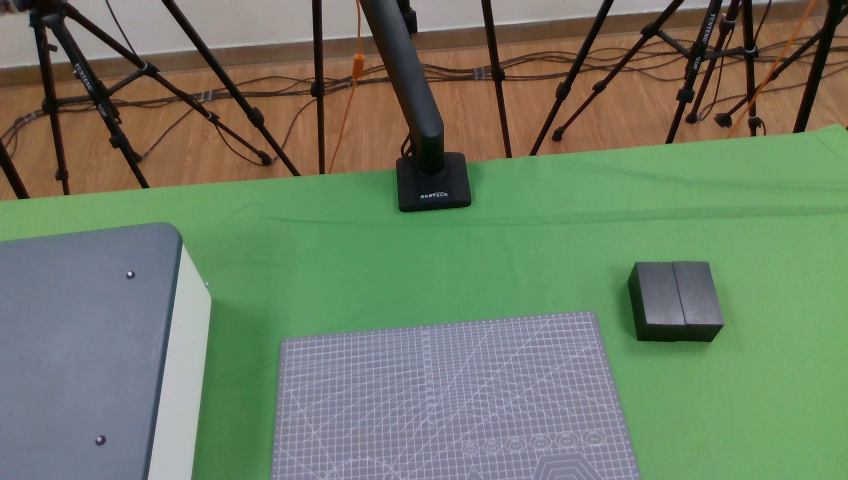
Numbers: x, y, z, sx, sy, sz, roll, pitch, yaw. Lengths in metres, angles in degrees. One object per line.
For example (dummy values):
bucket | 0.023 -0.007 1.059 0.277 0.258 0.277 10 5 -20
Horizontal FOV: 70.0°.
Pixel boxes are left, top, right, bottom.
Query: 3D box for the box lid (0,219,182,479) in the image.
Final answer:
box lid | -0.424 0.133 0.686 0.263 0.015 0.367 -6 56 -2

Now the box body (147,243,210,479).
box body | -0.421 0.178 0.746 0.254 0.162 0.360 -6 55 -2
